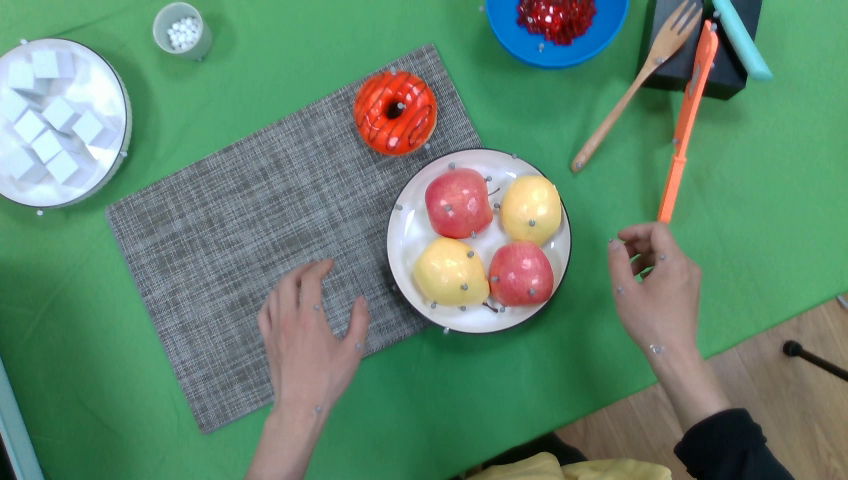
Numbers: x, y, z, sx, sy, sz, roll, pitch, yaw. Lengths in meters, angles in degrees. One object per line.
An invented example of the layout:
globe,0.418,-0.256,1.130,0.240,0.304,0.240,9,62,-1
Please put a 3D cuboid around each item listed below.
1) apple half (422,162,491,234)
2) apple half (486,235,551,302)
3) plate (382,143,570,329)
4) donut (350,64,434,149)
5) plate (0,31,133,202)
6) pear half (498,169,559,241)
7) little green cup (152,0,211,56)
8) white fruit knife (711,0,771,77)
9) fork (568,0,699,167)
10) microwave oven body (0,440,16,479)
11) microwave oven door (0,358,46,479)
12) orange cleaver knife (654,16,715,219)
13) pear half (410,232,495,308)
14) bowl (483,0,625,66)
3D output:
apple half,0.035,-0.047,0.672,0.074,0.053,0.081,-8,91,6
apple half,0.096,0.033,0.663,0.081,0.033,0.081,3,97,29
plate,0.058,-0.004,0.686,0.209,0.038,0.209,0,88,5
donut,-0.037,-0.153,0.696,0.099,0.048,0.099,0,90,8
plate,-0.451,-0.148,0.741,0.207,0.039,0.207,0,88,5
pear half,0.111,-0.034,0.668,0.070,0.031,0.088,9,103,30
little green cup,-0.289,-0.252,0.729,0.061,0.039,0.061,0,88,6
white fruit knife,0.308,-0.263,0.637,0.027,0.016,0.207,-22,84,-25
fork,0.220,-0.165,0.655,0.028,0.018,0.208,32,112,-2
microwave oven body,-0.647,0.262,0.630,0.326,0.260,0.441,-23,87,3
microwave oven door,-0.497,0.244,0.612,0.039,0.244,0.355,-23,86,4
orange cleaver knife,0.278,-0.128,0.652,0.012,0.077,0.212,11,115,11
pear half,0.038,0.041,0.673,0.110,0.056,0.076,37,97,1
bowl,0.139,-0.258,0.670,0.151,0.077,0.151,0,89,5
